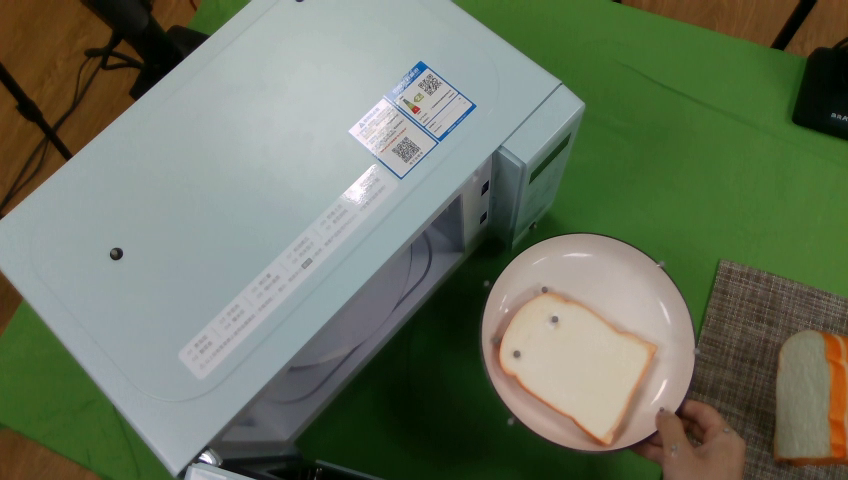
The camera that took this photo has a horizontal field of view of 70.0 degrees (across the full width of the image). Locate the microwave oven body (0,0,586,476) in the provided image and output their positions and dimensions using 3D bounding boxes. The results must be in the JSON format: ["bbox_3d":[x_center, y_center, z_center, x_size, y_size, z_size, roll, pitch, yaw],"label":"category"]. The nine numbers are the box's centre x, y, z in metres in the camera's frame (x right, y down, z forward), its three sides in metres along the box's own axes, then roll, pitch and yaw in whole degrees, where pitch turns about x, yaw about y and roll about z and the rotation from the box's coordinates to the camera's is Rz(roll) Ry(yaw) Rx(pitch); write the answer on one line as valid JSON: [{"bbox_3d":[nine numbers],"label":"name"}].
[{"bbox_3d":[-0.118,-0.032,0.624,0.324,0.262,0.441,42,80,14],"label":"microwave oven body"}]

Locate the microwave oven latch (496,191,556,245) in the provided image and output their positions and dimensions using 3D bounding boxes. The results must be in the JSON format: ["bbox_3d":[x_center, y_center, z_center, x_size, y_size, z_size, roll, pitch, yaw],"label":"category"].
[{"bbox_3d":[0.119,-0.033,0.709,0.079,0.030,0.030,-44,75,-9],"label":"microwave oven latch"}]

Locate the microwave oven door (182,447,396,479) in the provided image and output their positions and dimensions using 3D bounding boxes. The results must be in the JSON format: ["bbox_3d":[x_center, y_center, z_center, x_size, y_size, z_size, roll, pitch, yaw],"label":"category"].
[{"bbox_3d":[0.004,0.246,0.522,0.355,0.245,0.039,13,73,8],"label":"microwave oven door"}]

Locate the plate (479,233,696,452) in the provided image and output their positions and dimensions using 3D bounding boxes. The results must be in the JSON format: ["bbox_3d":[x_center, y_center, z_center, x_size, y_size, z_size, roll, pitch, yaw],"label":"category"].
[{"bbox_3d":[0.155,0.097,0.590,0.208,0.039,0.206,1,75,-2],"label":"plate"}]

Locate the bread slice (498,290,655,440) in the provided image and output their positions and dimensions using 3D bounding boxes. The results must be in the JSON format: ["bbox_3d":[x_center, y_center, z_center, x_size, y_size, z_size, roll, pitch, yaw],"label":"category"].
[{"bbox_3d":[0.139,0.113,0.584,0.134,0.018,0.106,30,73,6],"label":"bread slice"}]
